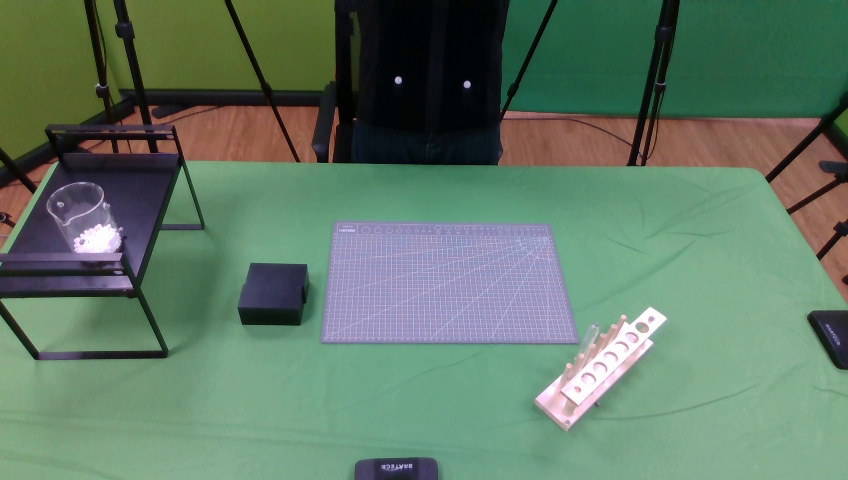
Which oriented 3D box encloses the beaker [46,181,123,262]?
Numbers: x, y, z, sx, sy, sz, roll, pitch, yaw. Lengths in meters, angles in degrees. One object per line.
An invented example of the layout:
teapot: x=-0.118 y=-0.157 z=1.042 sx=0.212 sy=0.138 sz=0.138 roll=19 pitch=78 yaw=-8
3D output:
beaker: x=-0.488 y=-0.021 z=0.877 sx=0.074 sy=0.101 sz=0.083 roll=3 pitch=47 yaw=0

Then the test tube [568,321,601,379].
test tube: x=0.247 y=0.173 z=0.938 sx=0.017 sy=0.151 sz=0.017 roll=2 pitch=47 yaw=-2

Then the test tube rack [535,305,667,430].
test tube rack: x=0.290 y=0.193 z=0.984 sx=0.242 sy=0.085 sz=0.066 roll=-32 pitch=56 yaw=-30
